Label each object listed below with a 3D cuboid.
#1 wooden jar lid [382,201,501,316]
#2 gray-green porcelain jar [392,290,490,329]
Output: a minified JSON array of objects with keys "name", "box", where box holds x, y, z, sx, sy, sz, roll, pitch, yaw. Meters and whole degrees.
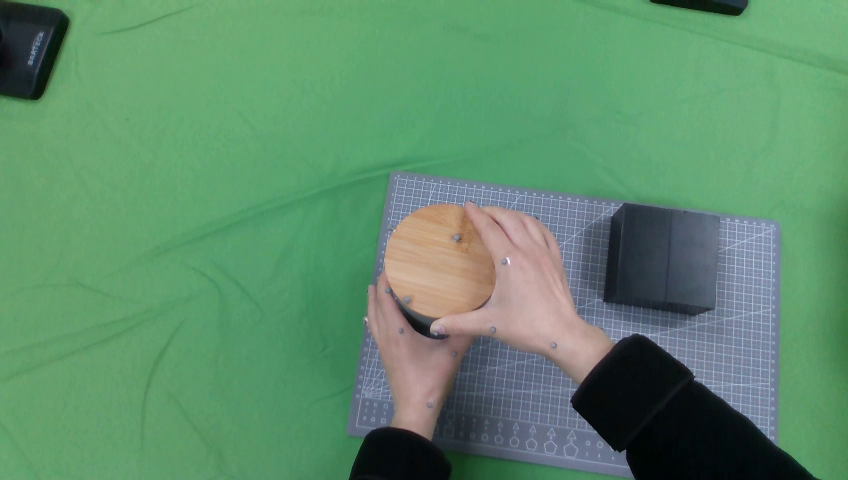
[{"name":"wooden jar lid","box":[0.017,0.018,0.556,0.108,0.021,0.108,-1,74,3]},{"name":"gray-green porcelain jar","box":[0.017,0.034,0.616,0.106,0.127,0.105,0,76,0]}]
